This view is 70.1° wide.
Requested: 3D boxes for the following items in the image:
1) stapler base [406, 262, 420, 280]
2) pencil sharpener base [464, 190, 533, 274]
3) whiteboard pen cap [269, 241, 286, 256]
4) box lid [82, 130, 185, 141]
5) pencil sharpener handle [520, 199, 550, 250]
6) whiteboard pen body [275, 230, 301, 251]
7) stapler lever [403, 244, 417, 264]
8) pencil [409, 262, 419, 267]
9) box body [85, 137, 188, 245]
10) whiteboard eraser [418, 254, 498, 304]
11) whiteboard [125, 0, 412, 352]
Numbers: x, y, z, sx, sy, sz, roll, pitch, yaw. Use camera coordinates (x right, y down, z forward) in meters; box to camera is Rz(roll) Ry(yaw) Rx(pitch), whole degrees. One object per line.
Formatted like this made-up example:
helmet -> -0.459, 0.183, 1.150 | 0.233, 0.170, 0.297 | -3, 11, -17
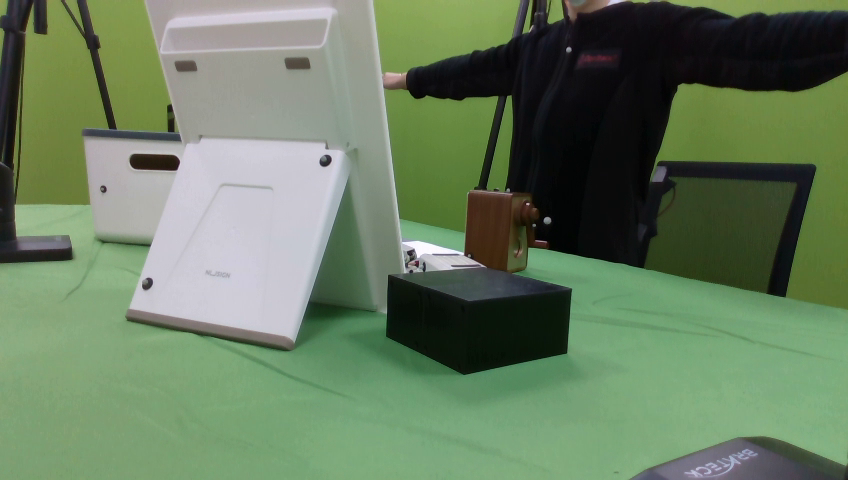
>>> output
stapler base -> -0.069, 0.027, 0.759 | 0.130, 0.024, 0.041 | 9, 13, 23
pencil sharpener base -> 0.103, -0.012, 0.813 | 0.076, 0.107, 0.061 | 8, 9, 36
whiteboard pen cap -> -0.202, 0.012, 0.836 | 0.018, 0.018, 0.033 | 2, 9, -1
box lid -> -0.337, -0.161, 1.011 | 0.263, 0.015, 0.372 | 4, 7, 11
pencil sharpener handle -> 0.147, -0.019, 0.785 | 0.030, 0.068, 0.036 | 8, 25, 36
whiteboard pen body -> -0.203, 0.002, 0.894 | 0.017, 0.017, 0.140 | 2, 9, -1
stapler lever -> -0.066, 0.003, 0.755 | 0.117, 0.040, 0.027 | 9, 13, 23
pencil -> 0.042, 0.028, 0.849 | 0.012, 0.012, 0.195 | 10, 10, 43
box body -> -0.340, -0.088, 1.022 | 0.254, 0.160, 0.364 | 4, 7, 11
whiteboard eraser -> 0.033, 0.040, 0.631 | 0.056, 0.042, 0.112 | 3, 6, -15
whiteboard -> -0.151, -0.050, 0.471 | 0.216, 0.305, 0.144 | 6, 27, 24
